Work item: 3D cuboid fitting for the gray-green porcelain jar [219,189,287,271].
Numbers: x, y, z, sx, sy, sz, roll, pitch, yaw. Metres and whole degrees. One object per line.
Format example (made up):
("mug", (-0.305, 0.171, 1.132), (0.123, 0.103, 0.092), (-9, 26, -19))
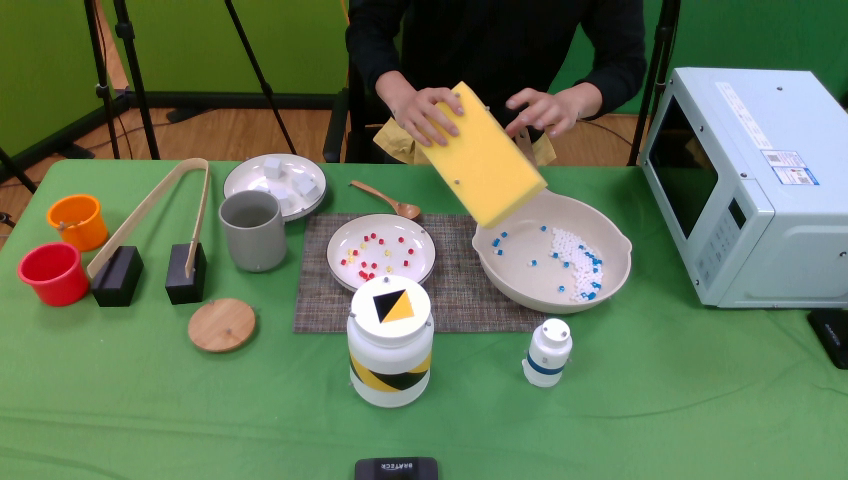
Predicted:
("gray-green porcelain jar", (-0.310, -0.014, 1.113), (0.106, 0.127, 0.105), (2, 46, -2))

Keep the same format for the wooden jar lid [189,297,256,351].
("wooden jar lid", (-0.342, 0.145, 1.033), (0.108, 0.021, 0.107), (2, 45, -2))

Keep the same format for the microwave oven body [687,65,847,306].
("microwave oven body", (0.669, -0.111, 1.176), (0.326, 0.261, 0.439), (0, 46, -3))

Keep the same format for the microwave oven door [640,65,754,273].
("microwave oven door", (0.523, -0.147, 1.193), (0.039, 0.245, 0.353), (0, 47, -3))

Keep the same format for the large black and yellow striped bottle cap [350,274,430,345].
("large black and yellow striped bottle cap", (-0.048, 0.097, 0.868), (0.115, 0.019, 0.114), (3, 48, -3))

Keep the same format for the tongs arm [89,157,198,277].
("tongs arm", (-0.529, -0.058, 1.164), (0.028, 0.028, 0.385), (1, 36, 8))

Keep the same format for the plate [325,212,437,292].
("plate", (-0.080, 0.030, 1.143), (0.209, 0.038, 0.208), (3, 46, -3))

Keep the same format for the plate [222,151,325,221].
("plate", (-0.310, -0.106, 1.262), (0.208, 0.039, 0.206), (2, 47, -2))

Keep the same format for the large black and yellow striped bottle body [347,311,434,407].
("large black and yellow striped bottle body", (-0.052, 0.157, 0.929), (0.131, 0.185, 0.130), (2, 47, -2))

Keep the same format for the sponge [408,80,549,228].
("sponge", (0.085, -0.134, 0.958), (0.118, 0.061, 0.206), (-40, 75, 17))

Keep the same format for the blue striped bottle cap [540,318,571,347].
("blue striped bottle cap", (0.203, 0.142, 0.933), (0.044, 0.021, 0.044), (3, 49, -3))

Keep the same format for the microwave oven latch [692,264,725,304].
("microwave oven latch", (0.522, 0.081, 1.116), (0.030, 0.029, 0.078), (2, 46, -1))

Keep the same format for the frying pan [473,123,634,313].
("frying pan", (0.235, -0.061, 1.208), (0.307, 0.103, 0.484), (1, 55, -6))

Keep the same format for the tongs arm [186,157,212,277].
("tongs arm", (-0.445, -0.058, 1.169), (0.051, 0.026, 0.382), (-4, 37, -6))

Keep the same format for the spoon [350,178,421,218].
("spoon", (-0.084, -0.093, 1.273), (0.193, 0.022, 0.041), (31, 70, 25))

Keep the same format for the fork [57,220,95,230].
("fork", (-0.624, -0.027, 1.086), (0.028, 0.207, 0.018), (-3, 92, -17))

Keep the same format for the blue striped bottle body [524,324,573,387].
("blue striped bottle body", (0.200, 0.178, 0.970), (0.063, 0.121, 0.062), (2, 46, -1))
